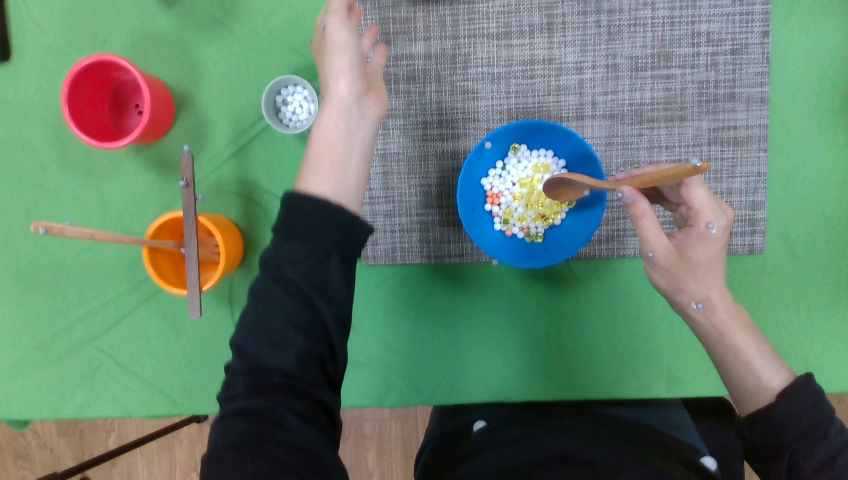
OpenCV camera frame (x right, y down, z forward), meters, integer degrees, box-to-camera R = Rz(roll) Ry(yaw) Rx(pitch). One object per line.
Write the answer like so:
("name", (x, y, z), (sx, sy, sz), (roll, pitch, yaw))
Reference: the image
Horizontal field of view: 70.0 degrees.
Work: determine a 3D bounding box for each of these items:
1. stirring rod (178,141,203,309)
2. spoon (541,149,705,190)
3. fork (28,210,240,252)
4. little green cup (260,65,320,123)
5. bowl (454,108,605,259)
("stirring rod", (-0.244, -0.014, 0.634), (0.014, 0.006, 0.176), (0, 98, 6))
("spoon", (0.162, -0.058, 0.519), (0.042, 0.192, 0.021), (29, 83, -20))
("fork", (-0.296, -0.010, 0.641), (0.209, 0.018, 0.028), (9, 104, -41))
("little green cup", (-0.144, -0.158, 0.665), (0.061, 0.038, 0.061), (1, 99, 4))
("bowl", (0.107, -0.060, 0.640), (0.151, 0.076, 0.151), (1, 99, 4))
